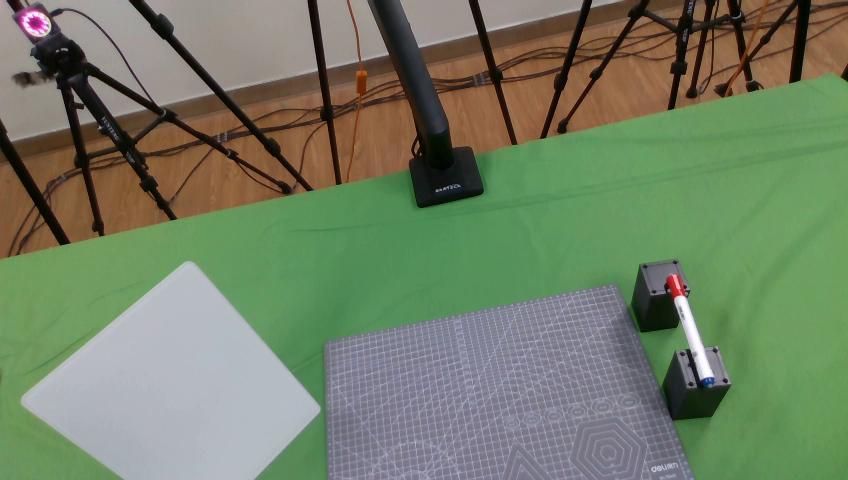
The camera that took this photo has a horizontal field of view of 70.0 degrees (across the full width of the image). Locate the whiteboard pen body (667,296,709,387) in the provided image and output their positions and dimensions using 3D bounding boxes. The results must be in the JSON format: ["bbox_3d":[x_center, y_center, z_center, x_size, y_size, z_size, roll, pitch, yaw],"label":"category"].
[{"bbox_3d":[0.315,0.111,0.732,0.017,0.017,0.139,-8,51,5],"label":"whiteboard pen body"}]

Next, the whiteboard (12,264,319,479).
[{"bbox_3d":[-0.320,0.189,0.773,0.217,0.309,0.142,-44,38,-21],"label":"whiteboard"}]

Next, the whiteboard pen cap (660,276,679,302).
[{"bbox_3d":[0.312,0.062,0.767,0.017,0.017,0.032,-6,53,6],"label":"whiteboard pen cap"}]
